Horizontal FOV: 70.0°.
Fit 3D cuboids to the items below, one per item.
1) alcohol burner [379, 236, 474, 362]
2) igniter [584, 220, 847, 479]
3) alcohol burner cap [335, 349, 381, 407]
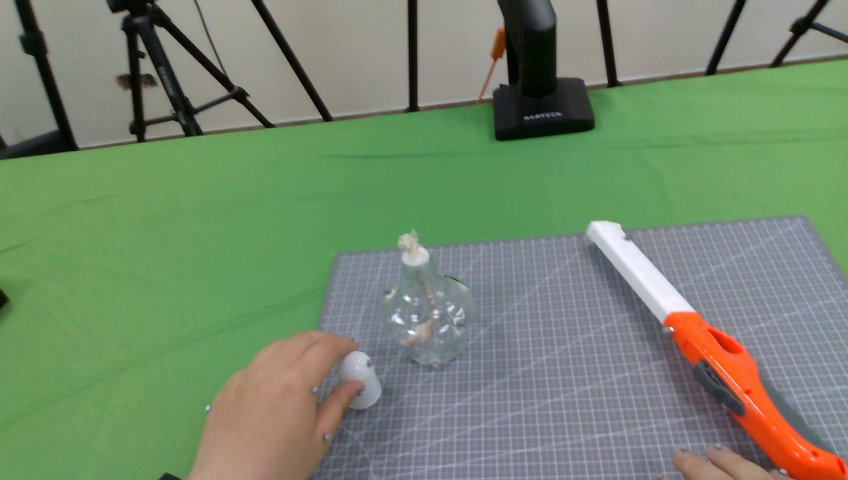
[{"bbox_3d":[-0.001,0.042,0.478,0.078,0.120,0.077,-5,42,5],"label":"alcohol burner"},{"bbox_3d":[0.202,0.066,0.464,0.057,0.025,0.273,1,34,-20],"label":"igniter"},{"bbox_3d":[-0.053,0.104,0.469,0.034,0.048,0.033,-3,45,3],"label":"alcohol burner cap"}]
